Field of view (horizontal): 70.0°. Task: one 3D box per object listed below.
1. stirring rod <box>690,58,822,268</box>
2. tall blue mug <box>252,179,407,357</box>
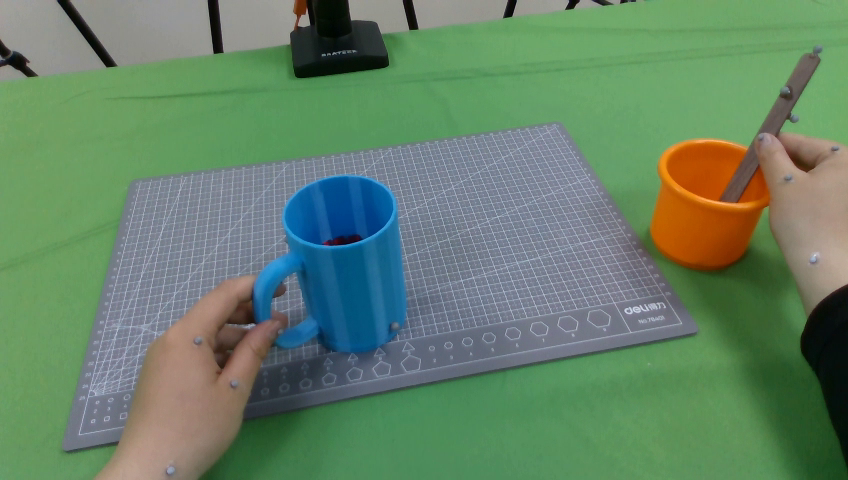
[{"bbox_3d":[0.257,-0.057,0.473,0.006,0.176,0.014,10,19,-48],"label":"stirring rod"},{"bbox_3d":[-0.059,0.031,0.424,0.077,0.109,0.106,13,45,15],"label":"tall blue mug"}]
